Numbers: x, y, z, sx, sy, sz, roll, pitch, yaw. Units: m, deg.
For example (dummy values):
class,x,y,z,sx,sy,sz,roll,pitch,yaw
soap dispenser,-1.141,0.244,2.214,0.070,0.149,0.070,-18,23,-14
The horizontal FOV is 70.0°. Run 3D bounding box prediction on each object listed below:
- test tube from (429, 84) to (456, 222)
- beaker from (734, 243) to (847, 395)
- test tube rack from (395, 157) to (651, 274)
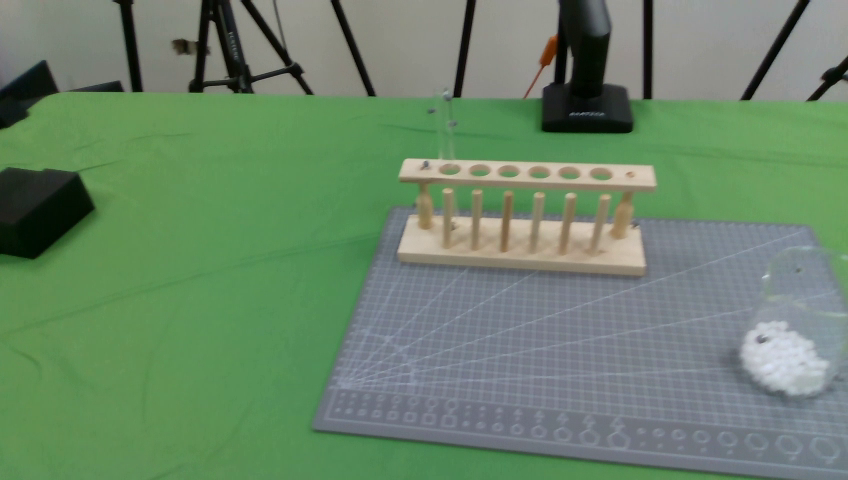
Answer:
class,x,y,z,sx,sy,sz,roll,pitch,yaw
test tube,0.019,-0.080,0.597,0.017,0.151,0.017,-4,37,4
beaker,0.285,0.064,0.466,0.084,0.101,0.073,-9,39,-4
test tube rack,0.093,-0.026,0.603,0.242,0.086,0.066,3,40,9
